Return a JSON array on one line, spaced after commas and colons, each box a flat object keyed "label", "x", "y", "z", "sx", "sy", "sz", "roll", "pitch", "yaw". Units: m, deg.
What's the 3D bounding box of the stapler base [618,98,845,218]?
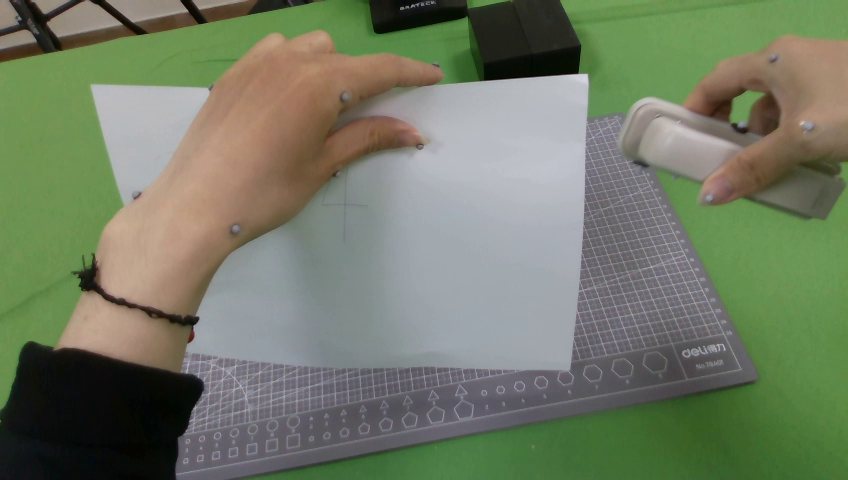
[{"label": "stapler base", "x": 0.186, "y": -0.048, "z": 0.368, "sx": 0.130, "sy": 0.041, "sz": 0.024, "roll": 19, "pitch": 25, "yaw": 3}]

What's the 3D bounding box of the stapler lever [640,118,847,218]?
[{"label": "stapler lever", "x": 0.183, "y": -0.040, "z": 0.346, "sx": 0.118, "sy": 0.027, "sz": 0.040, "roll": 19, "pitch": 25, "yaw": 5}]
